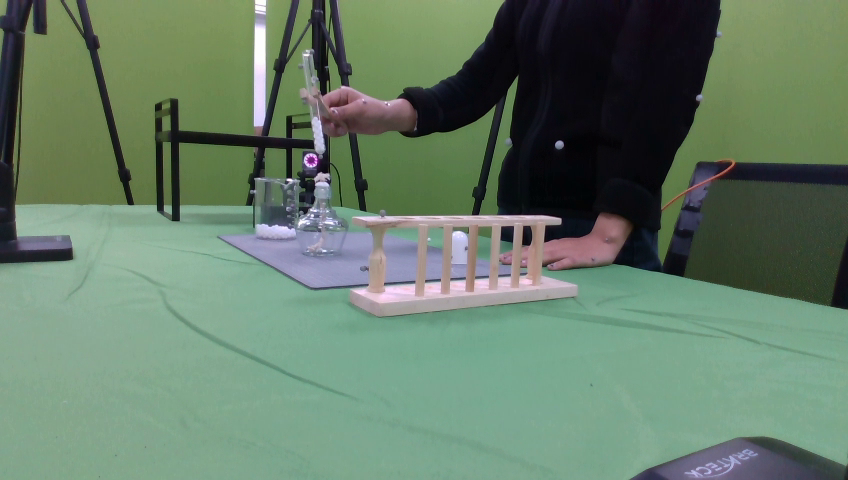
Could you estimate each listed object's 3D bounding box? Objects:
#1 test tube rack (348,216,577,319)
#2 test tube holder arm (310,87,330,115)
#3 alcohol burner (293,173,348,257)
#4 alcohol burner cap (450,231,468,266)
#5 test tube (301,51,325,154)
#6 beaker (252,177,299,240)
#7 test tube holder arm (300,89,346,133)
[{"bbox_3d":[0.048,0.021,0.619,0.244,0.085,0.066,-2,9,-31],"label":"test tube rack"},{"bbox_3d":[-0.151,-0.200,0.879,0.010,0.015,0.088,-6,-7,2],"label":"test tube holder arm"},{"bbox_3d":[-0.146,-0.036,0.859,0.078,0.119,0.078,4,8,0],"label":"alcohol burner"},{"bbox_3d":[0.046,0.012,0.839,0.034,0.048,0.034,3,5,0],"label":"alcohol burner cap"},{"bbox_3d":[-0.157,-0.195,0.856,0.017,0.150,0.017,-8,-6,-1],"label":"test tube"},{"bbox_3d":[-0.245,-0.052,1.005,0.074,0.100,0.083,-3,10,-32],"label":"beaker"},{"bbox_3d":[-0.151,-0.194,0.924,0.013,0.015,0.179,-7,-7,9],"label":"test tube holder arm"}]
